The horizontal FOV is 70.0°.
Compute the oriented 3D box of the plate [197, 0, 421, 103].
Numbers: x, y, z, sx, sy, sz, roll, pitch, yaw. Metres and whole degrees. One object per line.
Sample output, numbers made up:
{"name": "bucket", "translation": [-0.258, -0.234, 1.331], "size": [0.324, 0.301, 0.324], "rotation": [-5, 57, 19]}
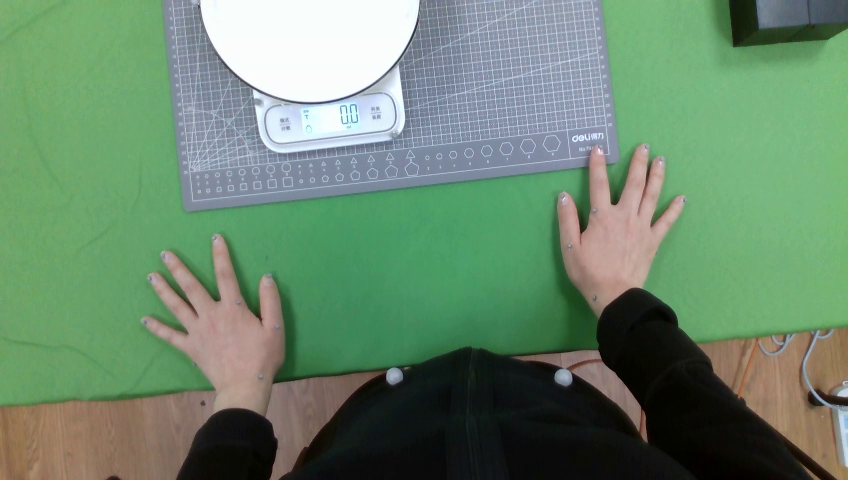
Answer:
{"name": "plate", "translation": [-0.106, -0.231, 0.579], "size": [0.209, 0.038, 0.209], "rotation": [0, 89, -1]}

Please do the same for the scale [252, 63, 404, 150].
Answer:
{"name": "scale", "translation": [-0.104, -0.198, 0.611], "size": [0.149, 0.031, 0.200], "rotation": [-7, 89, 0]}
